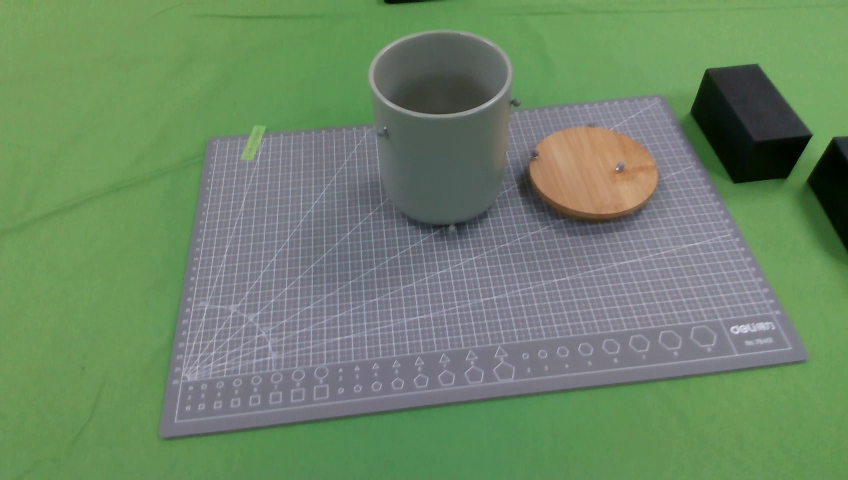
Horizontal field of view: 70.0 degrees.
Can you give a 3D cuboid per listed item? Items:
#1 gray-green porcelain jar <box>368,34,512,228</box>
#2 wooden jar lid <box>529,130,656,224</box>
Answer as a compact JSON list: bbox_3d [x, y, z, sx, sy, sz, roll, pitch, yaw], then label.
[{"bbox_3d":[0.014,-0.080,0.486,0.106,0.127,0.105,-1,51,1],"label":"gray-green porcelain jar"},{"bbox_3d":[0.145,-0.054,0.529,0.108,0.021,0.107,-1,50,2],"label":"wooden jar lid"}]
